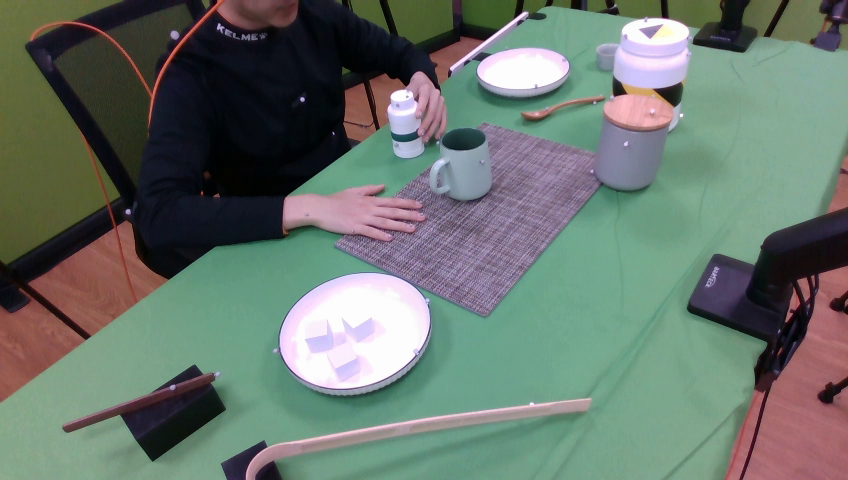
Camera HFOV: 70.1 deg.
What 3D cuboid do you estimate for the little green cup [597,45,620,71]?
[{"bbox_3d":[0.423,-0.413,1.376,0.061,0.039,0.061,-4,41,4],"label":"little green cup"}]

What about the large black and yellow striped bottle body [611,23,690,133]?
[{"bbox_3d":[0.420,-0.299,1.132,0.131,0.185,0.130,-5,40,4],"label":"large black and yellow striped bottle body"}]

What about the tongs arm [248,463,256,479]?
[{"bbox_3d":[0.012,0.262,0.615,0.385,0.026,0.050,2,42,-2],"label":"tongs arm"}]

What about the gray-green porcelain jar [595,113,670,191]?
[{"bbox_3d":[0.346,-0.155,1.017,0.106,0.127,0.105,-2,44,2],"label":"gray-green porcelain jar"}]

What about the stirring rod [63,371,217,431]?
[{"bbox_3d":[-0.337,0.192,0.723,0.177,0.014,0.005,-18,43,-12],"label":"stirring rod"}]

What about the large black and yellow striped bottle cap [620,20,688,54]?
[{"bbox_3d":[0.411,-0.363,1.080,0.115,0.019,0.114,-3,42,4],"label":"large black and yellow striped bottle cap"}]

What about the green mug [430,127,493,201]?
[{"bbox_3d":[0.059,-0.122,1.034,0.126,0.105,0.091,-35,48,-28],"label":"green mug"}]

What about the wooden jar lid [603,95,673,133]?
[{"bbox_3d":[0.343,-0.200,0.974,0.108,0.021,0.108,-2,39,2],"label":"wooden jar lid"}]

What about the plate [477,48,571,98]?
[{"bbox_3d":[0.223,-0.371,1.357,0.209,0.038,0.208,-4,41,4],"label":"plate"}]

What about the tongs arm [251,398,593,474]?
[{"bbox_3d":[0.008,0.212,0.675,0.389,0.028,0.028,-5,46,-11],"label":"tongs arm"}]

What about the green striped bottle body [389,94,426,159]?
[{"bbox_3d":[-0.032,-0.222,1.161,0.063,0.120,0.063,-4,35,3],"label":"green striped bottle body"}]

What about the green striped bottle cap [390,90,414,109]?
[{"bbox_3d":[-0.041,-0.262,1.125,0.044,0.020,0.044,-4,40,4],"label":"green striped bottle cap"}]

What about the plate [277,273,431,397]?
[{"bbox_3d":[-0.091,0.129,0.821,0.207,0.039,0.206,-4,40,4],"label":"plate"}]

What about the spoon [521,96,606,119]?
[{"bbox_3d":[0.291,-0.277,1.249,0.194,0.022,0.041,-18,23,-11],"label":"spoon"}]
